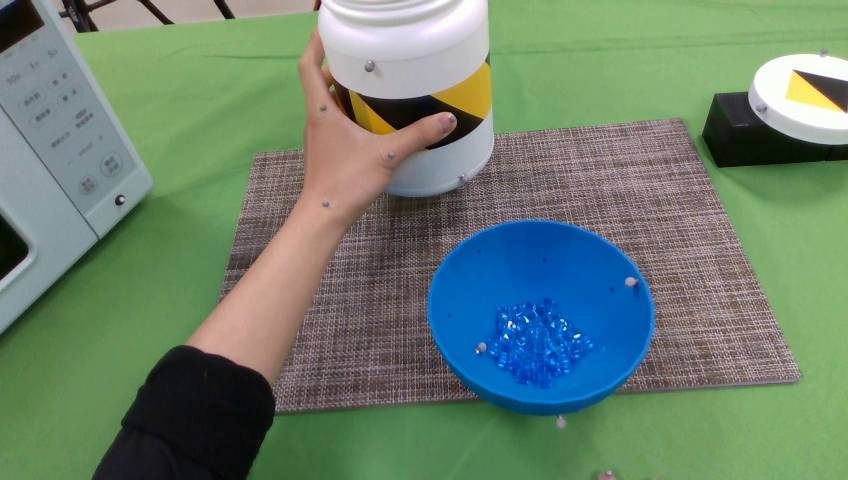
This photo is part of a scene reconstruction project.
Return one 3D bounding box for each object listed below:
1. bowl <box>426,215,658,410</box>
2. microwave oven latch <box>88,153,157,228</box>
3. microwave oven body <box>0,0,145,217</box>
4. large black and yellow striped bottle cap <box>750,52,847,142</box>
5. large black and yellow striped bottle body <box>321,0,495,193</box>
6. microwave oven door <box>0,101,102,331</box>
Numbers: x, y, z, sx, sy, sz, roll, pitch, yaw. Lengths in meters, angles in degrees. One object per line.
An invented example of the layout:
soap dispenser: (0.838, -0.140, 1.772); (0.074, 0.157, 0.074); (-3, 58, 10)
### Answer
bowl: (0.079, 0.062, 0.433); (0.151, 0.077, 0.150); (-3, 49, 4)
microwave oven latch: (-0.292, -0.050, 0.577); (0.030, 0.030, 0.079); (20, 55, 21)
microwave oven body: (-0.511, -0.031, 0.455); (0.324, 0.263, 0.439); (18, 55, 20)
large black and yellow striped bottle cap: (0.360, -0.133, 0.549); (0.115, 0.019, 0.114); (-4, 49, 5)
large black and yellow striped bottle body: (-0.010, -0.145, 0.497); (0.131, 0.186, 0.129); (-4, 48, 5)
microwave oven door: (-0.400, 0.037, 0.379); (0.039, 0.246, 0.354); (18, 54, 21)
